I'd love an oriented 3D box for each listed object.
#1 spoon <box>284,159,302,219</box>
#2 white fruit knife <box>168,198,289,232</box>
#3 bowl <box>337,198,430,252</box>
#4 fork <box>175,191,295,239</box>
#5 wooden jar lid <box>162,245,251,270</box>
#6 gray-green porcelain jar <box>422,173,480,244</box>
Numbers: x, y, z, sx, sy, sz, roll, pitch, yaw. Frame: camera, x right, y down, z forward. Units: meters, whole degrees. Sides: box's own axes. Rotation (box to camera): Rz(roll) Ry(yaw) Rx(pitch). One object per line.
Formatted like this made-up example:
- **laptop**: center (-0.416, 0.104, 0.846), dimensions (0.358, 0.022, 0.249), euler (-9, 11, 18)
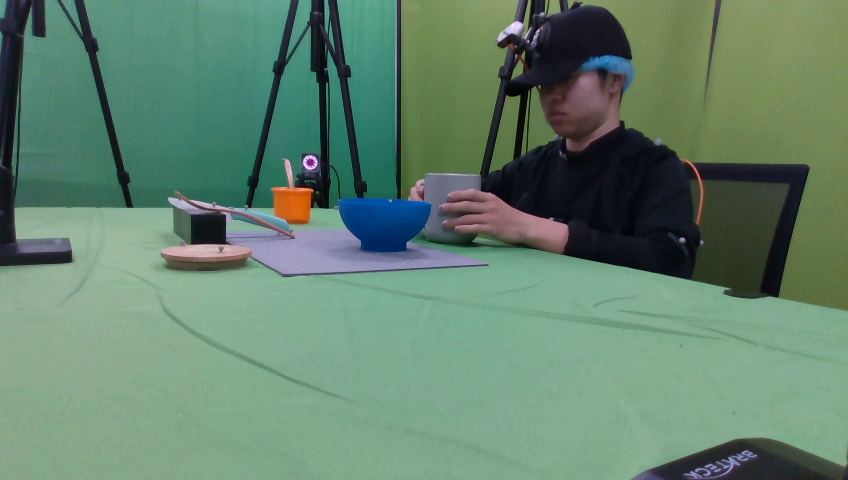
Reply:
- **spoon**: center (-0.302, -0.118, 1.370), dimensions (0.042, 0.193, 0.021), euler (5, -39, -24)
- **white fruit knife**: center (-0.329, -0.044, 1.036), dimensions (0.208, 0.027, 0.016), euler (14, -1, -32)
- **bowl**: center (-0.066, -0.024, 0.967), dimensions (0.151, 0.077, 0.151), euler (3, 7, 0)
- **fork**: center (-0.306, -0.039, 0.993), dimensions (0.208, 0.018, 0.028), euler (19, -9, -34)
- **wooden jar lid**: center (-0.278, 0.022, 0.777), dimensions (0.108, 0.020, 0.108), euler (2, 6, 0)
- **gray-green porcelain jar**: center (0.049, -0.060, 1.118), dimensions (0.106, 0.126, 0.106), euler (1, 7, 0)
